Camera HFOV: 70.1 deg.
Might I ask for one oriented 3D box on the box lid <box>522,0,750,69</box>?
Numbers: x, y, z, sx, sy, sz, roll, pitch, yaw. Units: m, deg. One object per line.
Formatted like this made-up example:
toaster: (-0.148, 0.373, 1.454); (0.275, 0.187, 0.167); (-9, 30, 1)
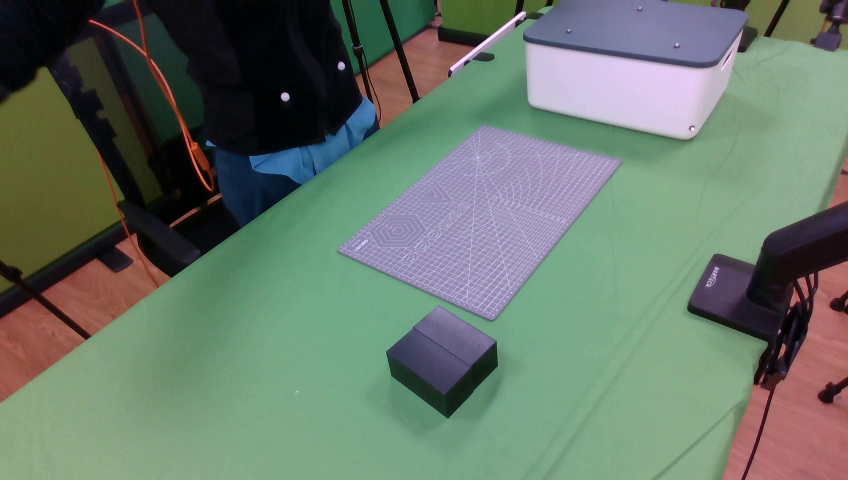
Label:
box lid: (0.405, -0.409, 1.163); (0.369, 0.015, 0.264); (20, 47, 29)

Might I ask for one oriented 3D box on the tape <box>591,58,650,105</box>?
tape: (0.407, -0.331, 1.259); (0.117, 0.053, 0.116); (-2, 40, 2)

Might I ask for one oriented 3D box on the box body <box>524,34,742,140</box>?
box body: (0.412, -0.354, 1.212); (0.361, 0.161, 0.254); (20, 48, 29)
